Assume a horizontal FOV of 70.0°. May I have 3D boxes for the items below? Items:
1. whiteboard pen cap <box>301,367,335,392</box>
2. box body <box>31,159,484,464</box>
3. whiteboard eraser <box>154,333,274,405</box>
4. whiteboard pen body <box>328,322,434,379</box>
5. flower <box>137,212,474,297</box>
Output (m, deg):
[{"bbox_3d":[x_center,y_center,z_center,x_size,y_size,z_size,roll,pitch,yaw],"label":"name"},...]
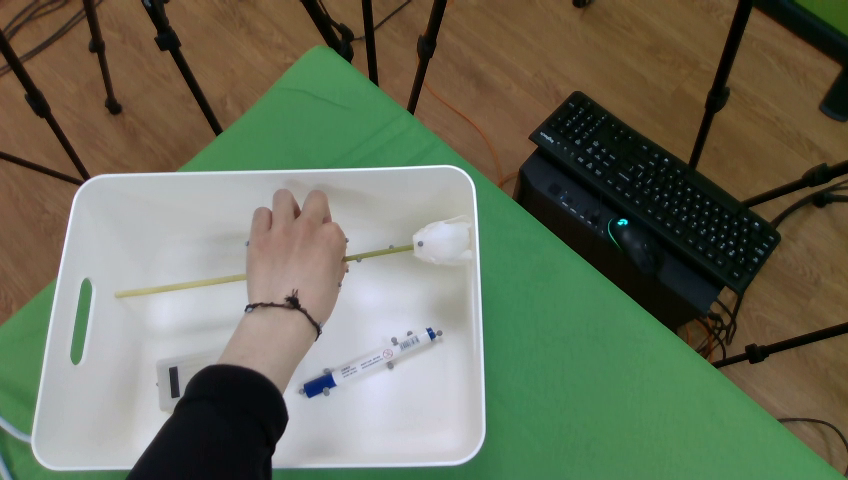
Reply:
[{"bbox_3d":[-0.109,0.143,0.626,0.033,0.018,0.018,-24,73,-5],"label":"whiteboard pen cap"},{"bbox_3d":[-0.130,0.076,0.580,0.364,0.161,0.252,-1,72,1],"label":"box body"},{"bbox_3d":[-0.213,0.131,0.619,0.113,0.042,0.055,-10,74,-4],"label":"whiteboard eraser"},{"bbox_3d":[-0.056,0.120,0.632,0.141,0.017,0.017,-24,73,-3],"label":"whiteboard pen body"},{"bbox_3d":[-0.126,0.025,0.602,0.361,0.038,0.044,-10,84,11],"label":"flower"}]
